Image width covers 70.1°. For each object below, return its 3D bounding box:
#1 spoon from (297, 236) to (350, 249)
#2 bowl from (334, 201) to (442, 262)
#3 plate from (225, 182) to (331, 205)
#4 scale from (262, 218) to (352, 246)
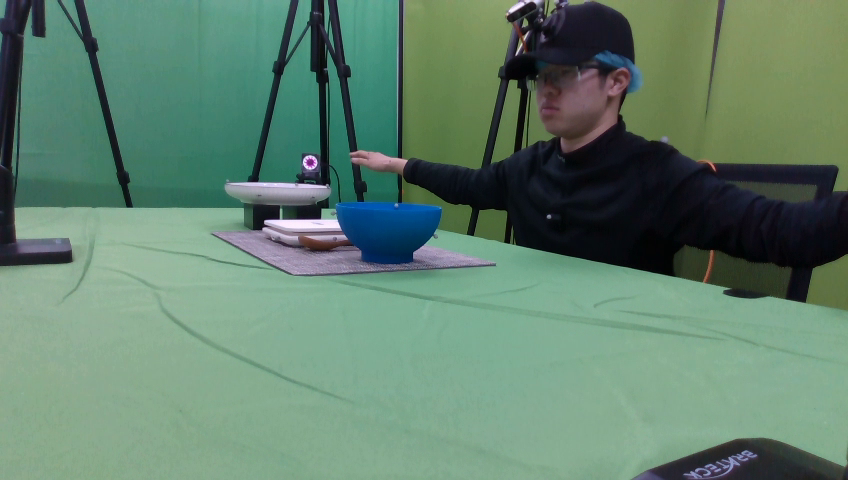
[{"bbox_3d":[-0.103,0.002,0.943,0.195,0.021,0.041,-2,-7,-30],"label":"spoon"},{"bbox_3d":[-0.051,-0.012,0.848,0.151,0.077,0.151,2,7,0],"label":"bowl"},{"bbox_3d":[-0.294,-0.096,1.229,0.209,0.038,0.209,2,7,0],"label":"plate"},{"bbox_3d":[-0.160,-0.016,1.028,0.202,0.031,0.148,-2,9,-32],"label":"scale"}]
